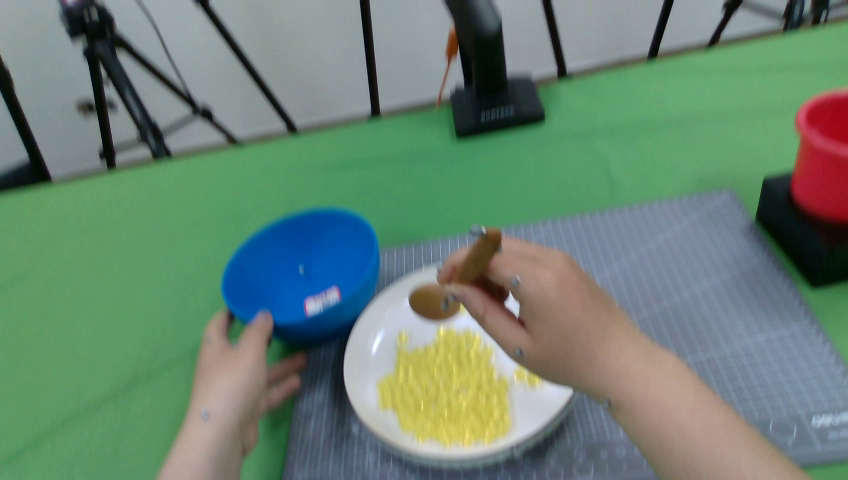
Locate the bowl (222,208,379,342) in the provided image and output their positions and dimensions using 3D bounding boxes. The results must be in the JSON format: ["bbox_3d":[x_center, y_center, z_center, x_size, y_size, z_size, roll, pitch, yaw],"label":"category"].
[{"bbox_3d":[-0.109,0.046,0.591,0.151,0.077,0.150,-8,41,7],"label":"bowl"}]

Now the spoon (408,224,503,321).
[{"bbox_3d":[0.020,0.027,0.394,0.042,0.194,0.021,23,72,-3],"label":"spoon"}]

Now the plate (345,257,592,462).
[{"bbox_3d":[0.037,0.098,0.521,0.207,0.039,0.205,-8,41,8],"label":"plate"}]
